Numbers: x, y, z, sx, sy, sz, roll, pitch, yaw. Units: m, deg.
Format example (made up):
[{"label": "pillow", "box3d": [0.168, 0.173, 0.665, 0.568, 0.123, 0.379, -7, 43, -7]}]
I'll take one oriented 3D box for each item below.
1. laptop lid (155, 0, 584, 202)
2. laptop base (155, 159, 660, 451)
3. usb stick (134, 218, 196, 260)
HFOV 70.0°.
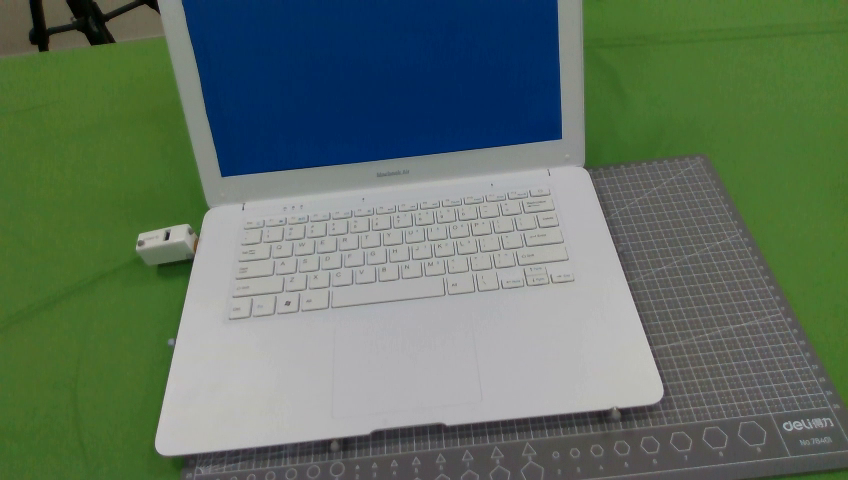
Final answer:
[{"label": "laptop lid", "box3d": [-0.041, -0.158, 0.522, 0.357, 0.243, 0.013, -8, 20, 1]}, {"label": "laptop base", "box3d": [-0.020, 0.039, 0.488, 0.354, 0.023, 0.233, -7, 53, 1]}, {"label": "usb stick", "box3d": [-0.218, -0.002, 0.529, 0.059, 0.027, 0.021, -9, 49, 0]}]
